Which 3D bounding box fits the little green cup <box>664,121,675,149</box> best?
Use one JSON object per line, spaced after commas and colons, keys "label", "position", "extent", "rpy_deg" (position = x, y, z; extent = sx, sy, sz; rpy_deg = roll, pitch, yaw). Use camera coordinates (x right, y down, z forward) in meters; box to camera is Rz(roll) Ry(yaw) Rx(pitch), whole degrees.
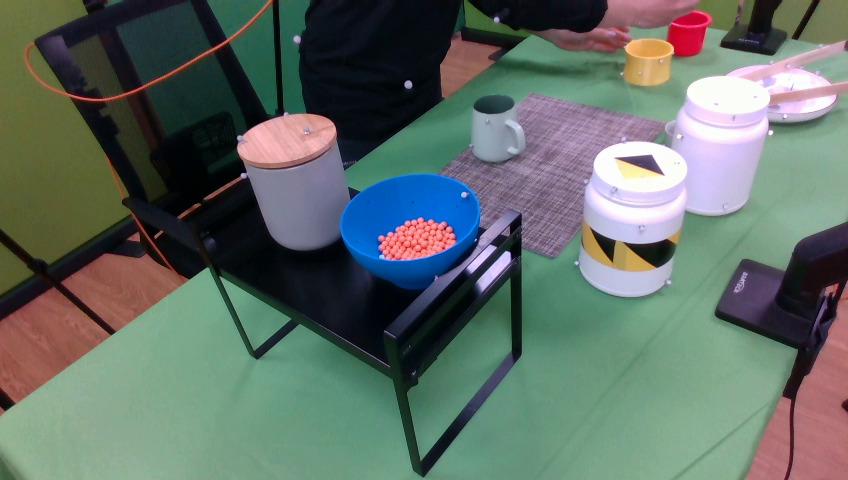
{"label": "little green cup", "position": [0.472, -0.188, 1.113], "extent": [0.061, 0.039, 0.061], "rpy_deg": [-4, 40, 4]}

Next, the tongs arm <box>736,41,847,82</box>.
{"label": "tongs arm", "position": [0.712, -0.332, 1.194], "extent": [0.386, 0.026, 0.050], "rpy_deg": [-19, 45, -16]}

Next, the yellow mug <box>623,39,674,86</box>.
{"label": "yellow mug", "position": [0.484, -0.398, 1.334], "extent": [0.100, 0.064, 0.130], "rpy_deg": [-18, 40, -10]}

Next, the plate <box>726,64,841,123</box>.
{"label": "plate", "position": [0.695, -0.282, 1.189], "extent": [0.207, 0.039, 0.206], "rpy_deg": [-4, 40, 4]}

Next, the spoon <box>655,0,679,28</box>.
{"label": "spoon", "position": [0.500, -0.474, 1.170], "extent": [0.021, 0.194, 0.041], "rpy_deg": [29, 74, 4]}

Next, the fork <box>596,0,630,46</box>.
{"label": "fork", "position": [0.481, -0.556, 1.452], "extent": [0.028, 0.019, 0.207], "rpy_deg": [40, 103, 39]}

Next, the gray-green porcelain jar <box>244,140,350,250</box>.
{"label": "gray-green porcelain jar", "position": [-0.144, -0.060, 0.714], "extent": [0.106, 0.127, 0.105], "rpy_deg": [-4, 41, 4]}

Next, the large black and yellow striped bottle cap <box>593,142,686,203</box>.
{"label": "large black and yellow striped bottle cap", "position": [0.280, -0.090, 0.786], "extent": [0.115, 0.019, 0.114], "rpy_deg": [-5, 41, 5]}

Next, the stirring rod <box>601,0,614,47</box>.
{"label": "stirring rod", "position": [0.440, -0.552, 1.463], "extent": [0.014, 0.006, 0.175], "rpy_deg": [-7, 83, 2]}

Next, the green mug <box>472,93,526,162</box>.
{"label": "green mug", "position": [0.144, -0.202, 1.122], "extent": [0.093, 0.105, 0.124], "rpy_deg": [-29, 45, -23]}

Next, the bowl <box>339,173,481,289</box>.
{"label": "bowl", "position": [-0.011, 0.001, 0.660], "extent": [0.151, 0.077, 0.150], "rpy_deg": [-5, 41, 5]}

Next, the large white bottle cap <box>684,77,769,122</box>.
{"label": "large white bottle cap", "position": [0.448, -0.209, 0.898], "extent": [0.115, 0.018, 0.114], "rpy_deg": [-4, 40, 4]}

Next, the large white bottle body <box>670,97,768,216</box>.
{"label": "large white bottle body", "position": [0.458, -0.146, 0.952], "extent": [0.130, 0.185, 0.130], "rpy_deg": [-4, 40, 4]}

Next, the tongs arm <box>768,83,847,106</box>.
{"label": "tongs arm", "position": [0.739, -0.281, 1.134], "extent": [0.388, 0.028, 0.028], "rpy_deg": [-9, 47, -5]}

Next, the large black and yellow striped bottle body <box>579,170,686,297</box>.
{"label": "large black and yellow striped bottle body", "position": [0.287, -0.027, 0.841], "extent": [0.131, 0.185, 0.130], "rpy_deg": [-4, 41, 4]}

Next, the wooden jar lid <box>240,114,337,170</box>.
{"label": "wooden jar lid", "position": [-0.149, -0.106, 0.674], "extent": [0.108, 0.021, 0.108], "rpy_deg": [-6, 39, 5]}
